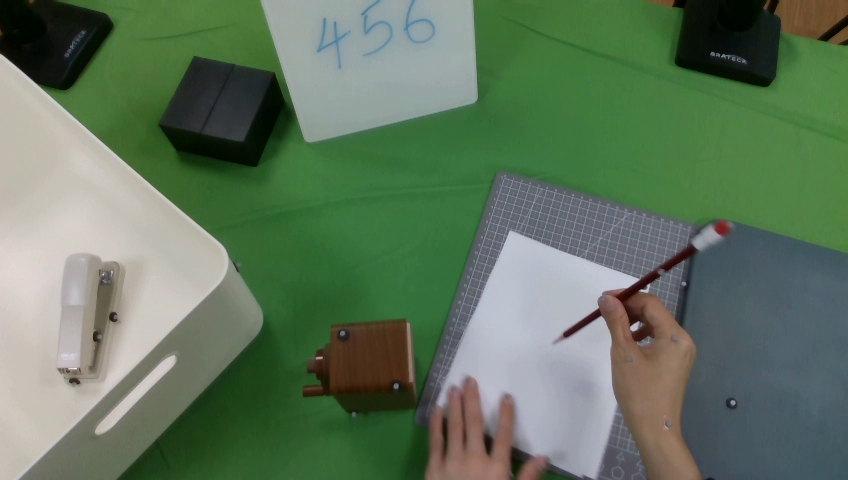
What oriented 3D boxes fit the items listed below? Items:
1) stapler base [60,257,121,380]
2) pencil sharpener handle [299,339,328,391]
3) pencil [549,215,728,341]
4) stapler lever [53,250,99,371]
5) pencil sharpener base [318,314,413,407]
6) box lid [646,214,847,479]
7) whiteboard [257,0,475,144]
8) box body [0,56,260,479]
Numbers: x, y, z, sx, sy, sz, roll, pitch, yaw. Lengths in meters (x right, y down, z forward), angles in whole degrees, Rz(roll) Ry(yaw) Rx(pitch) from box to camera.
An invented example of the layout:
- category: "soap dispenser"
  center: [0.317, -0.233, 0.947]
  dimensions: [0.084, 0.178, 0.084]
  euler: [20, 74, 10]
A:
- category: "stapler base"
  center: [-0.341, 0.075, 0.614]
  dimensions: [0.041, 0.024, 0.129]
  euler: [-3, 68, 1]
- category: "pencil sharpener handle"
  center: [-0.102, 0.116, 0.542]
  dimensions: [0.030, 0.068, 0.035]
  euler: [-4, 49, -1]
- category: "pencil"
  center: [0.170, 0.039, 0.508]
  dimensions: [0.012, 0.194, 0.012]
  euler: [23, 43, -23]
- category: "stapler lever"
  center: [-0.340, 0.066, 0.590]
  dimensions: [0.027, 0.040, 0.117]
  euler: [-3, 68, 1]
- category: "pencil sharpener base"
  center: [-0.051, 0.114, 0.556]
  dimensions: [0.077, 0.108, 0.061]
  euler: [-4, 66, -1]
- category: "box lid"
  center: [0.366, 0.159, 0.588]
  dimensions: [0.263, 0.015, 0.369]
  euler: [17, 67, 6]
- category: "whiteboard"
  center: [-0.074, -0.293, 0.664]
  dimensions: [0.217, 0.308, 0.142]
  euler: [-15, 47, -6]
- category: "box body"
  center: [-0.366, 0.032, 0.563]
  dimensions: [0.362, 0.161, 0.253]
  euler: [37, 71, 15]
